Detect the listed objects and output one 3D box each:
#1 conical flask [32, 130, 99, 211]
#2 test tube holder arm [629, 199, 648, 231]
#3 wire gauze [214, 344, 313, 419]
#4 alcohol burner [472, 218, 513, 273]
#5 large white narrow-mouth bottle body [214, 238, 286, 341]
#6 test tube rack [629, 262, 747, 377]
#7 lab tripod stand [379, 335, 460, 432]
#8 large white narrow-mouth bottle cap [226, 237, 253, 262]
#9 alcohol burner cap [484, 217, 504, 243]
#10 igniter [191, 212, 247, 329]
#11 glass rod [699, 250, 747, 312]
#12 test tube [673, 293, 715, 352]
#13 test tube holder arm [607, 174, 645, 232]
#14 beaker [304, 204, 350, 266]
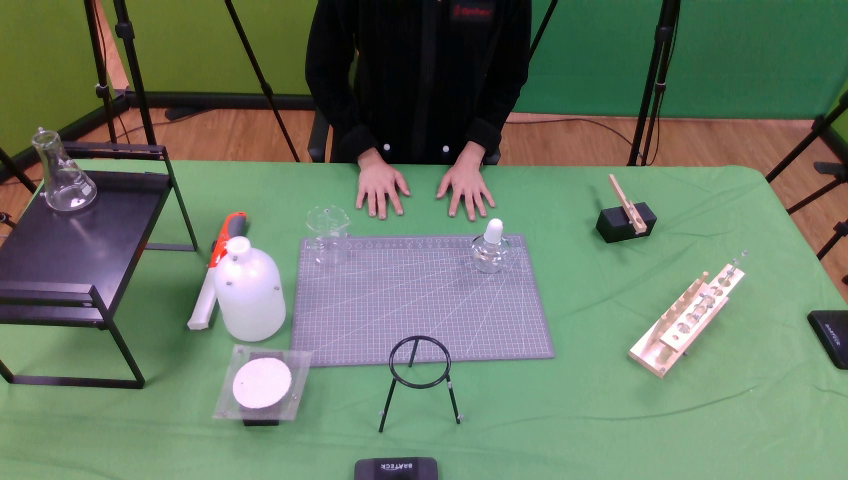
[{"bbox_3d":[-0.565,-0.110,0.944,0.075,0.122,0.075,2,46,-2],"label":"conical flask"},{"bbox_3d":[0.423,-0.050,1.206,0.010,0.015,0.087,1,41,-12],"label":"test tube holder arm"},{"bbox_3d":[-0.241,0.213,0.916,0.121,0.011,0.124,5,46,1],"label":"wire gauze"},{"bbox_3d":[0.128,0.005,1.132,0.078,0.120,0.077,0,47,0],"label":"alcohol burner"},{"bbox_3d":[-0.285,0.073,0.986,0.102,0.195,0.101,2,46,-2],"label":"large white narrow-mouth bottle body"},{"bbox_3d":[0.464,0.126,1.061,0.242,0.085,0.066,-34,56,-31],"label":"test tube rack"},{"bbox_3d":[-0.011,0.214,0.911,0.148,0.132,0.147,1,45,0],"label":"lab tripod stand"},{"bbox_3d":[-0.281,0.014,0.923,0.038,0.024,0.037,2,46,-2],"label":"large white narrow-mouth bottle cap"},{"bbox_3d":[0.130,-0.021,1.107,0.034,0.048,0.033,6,46,-6],"label":"alcohol burner cap"},{"bbox_3d":[-0.376,0.047,1.121,0.057,0.025,0.275,-4,46,6],"label":"igniter"},{"bbox_3d":[0.500,0.075,1.021,0.008,0.201,0.008,0,55,1],"label":"glass rod"},{"bbox_3d":[0.429,0.137,0.979,0.017,0.151,0.017,5,46,-5],"label":"test tube"},{"bbox_3d":[0.410,-0.080,1.238,0.013,0.015,0.177,1,41,-13],"label":"test tube holder arm"},{"bbox_3d":[-0.178,-0.006,1.132,0.084,0.101,0.073,4,46,-1],"label":"beaker"}]
